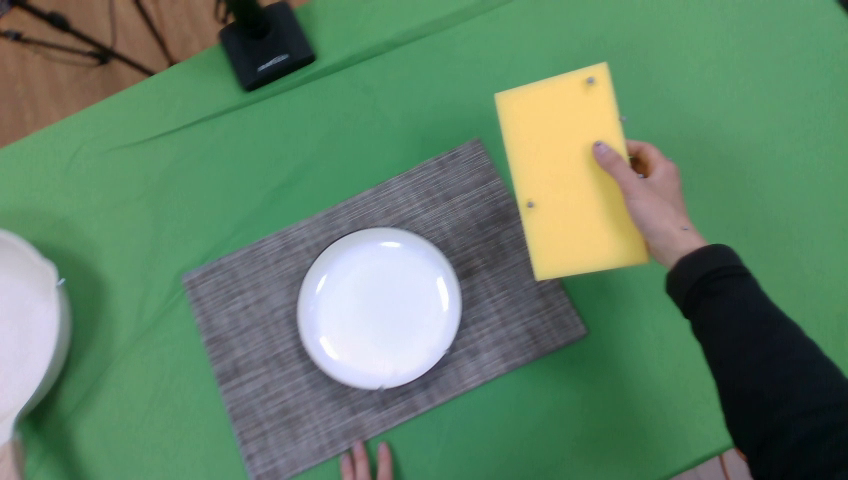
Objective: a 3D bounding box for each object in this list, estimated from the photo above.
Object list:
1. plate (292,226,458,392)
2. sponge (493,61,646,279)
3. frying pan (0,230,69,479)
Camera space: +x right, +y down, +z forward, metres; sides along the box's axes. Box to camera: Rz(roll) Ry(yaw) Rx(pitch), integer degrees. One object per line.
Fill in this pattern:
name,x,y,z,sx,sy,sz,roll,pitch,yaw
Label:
plate,-0.060,0.086,0.761,0.207,0.039,0.206,-2,74,6
sponge,0.158,-0.071,0.651,0.118,0.061,0.207,-13,91,20
frying pan,-0.546,0.207,0.751,0.307,0.103,0.483,-33,65,-2
